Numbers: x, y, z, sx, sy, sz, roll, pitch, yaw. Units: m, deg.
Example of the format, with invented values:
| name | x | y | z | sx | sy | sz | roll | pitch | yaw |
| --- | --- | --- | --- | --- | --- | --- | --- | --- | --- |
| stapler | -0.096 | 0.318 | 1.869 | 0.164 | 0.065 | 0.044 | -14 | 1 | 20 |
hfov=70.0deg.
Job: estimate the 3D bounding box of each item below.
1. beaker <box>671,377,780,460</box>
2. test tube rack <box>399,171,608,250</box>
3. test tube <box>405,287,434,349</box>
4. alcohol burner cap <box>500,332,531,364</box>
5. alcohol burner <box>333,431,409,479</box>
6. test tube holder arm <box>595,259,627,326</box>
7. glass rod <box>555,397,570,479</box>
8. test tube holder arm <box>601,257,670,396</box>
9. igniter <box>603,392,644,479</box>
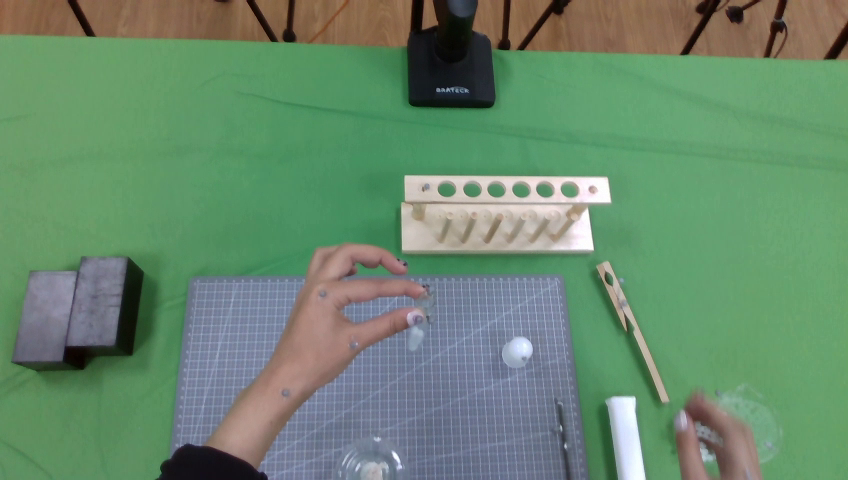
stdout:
| name | x | y | z | sx | sy | sz | roll | pitch | yaw |
| --- | --- | --- | --- | --- | --- | --- | --- | --- | --- |
| beaker | 0.323 | 0.199 | 0.661 | 0.074 | 0.101 | 0.083 | 12 | 67 | 0 |
| test tube rack | 0.093 | -0.034 | 0.736 | 0.243 | 0.085 | 0.066 | 0 | 69 | -6 |
| test tube | -0.006 | 0.075 | 0.550 | 0.017 | 0.151 | 0.017 | 2 | 66 | -5 |
| alcohol burner cap | 0.108 | 0.123 | 0.697 | 0.034 | 0.048 | 0.033 | 2 | 69 | -5 |
| alcohol burner | -0.053 | 0.229 | 0.602 | 0.078 | 0.120 | 0.077 | 2 | 66 | -4 |
| test tube holder arm | 0.234 | 0.065 | 0.749 | 0.010 | 0.015 | 0.087 | -27 | 72 | 20 |
| glass rod | 0.157 | 0.273 | 0.662 | 0.008 | 0.008 | 0.198 | 0 | 69 | -6 |
| test tube holder arm | 0.254 | 0.102 | 0.733 | 0.013 | 0.015 | 0.177 | -28 | 71 | 20 |
| igniter | 0.226 | 0.304 | 0.650 | 0.057 | 0.025 | 0.274 | 4 | 69 | -14 |
